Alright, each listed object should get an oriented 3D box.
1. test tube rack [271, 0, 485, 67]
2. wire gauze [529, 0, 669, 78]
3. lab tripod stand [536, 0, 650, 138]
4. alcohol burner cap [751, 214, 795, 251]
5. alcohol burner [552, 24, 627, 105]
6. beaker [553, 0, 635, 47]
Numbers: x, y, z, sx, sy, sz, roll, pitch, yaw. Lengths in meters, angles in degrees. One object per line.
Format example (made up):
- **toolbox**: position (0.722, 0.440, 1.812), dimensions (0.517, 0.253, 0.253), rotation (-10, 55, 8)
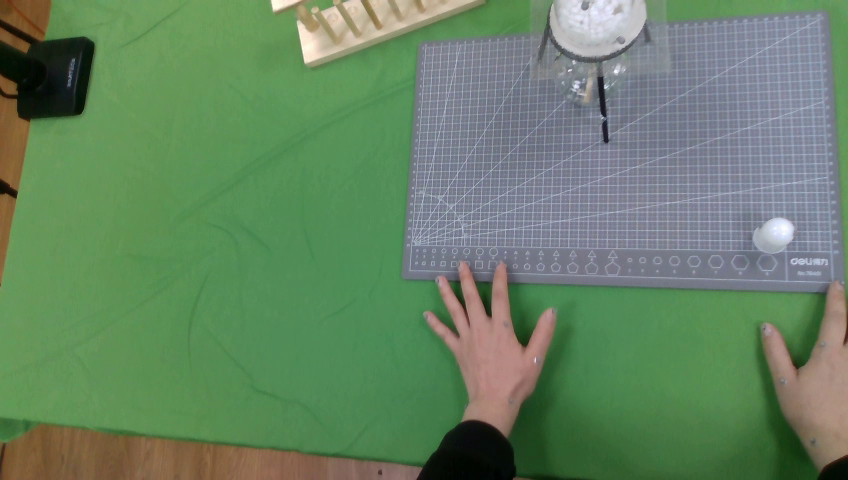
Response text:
- **test tube rack**: position (-0.056, -0.298, 0.738), dimensions (0.242, 0.086, 0.066), rotation (-16, 75, 12)
- **wire gauze**: position (0.160, -0.208, 0.560), dimensions (0.125, 0.011, 0.121), rotation (1, 83, 14)
- **lab tripod stand**: position (0.178, -0.194, 0.622), dimensions (0.148, 0.132, 0.148), rotation (-3, 79, 14)
- **alcohol burner cap**: position (0.341, -0.010, 0.587), dimensions (0.034, 0.048, 0.033), rotation (-3, 78, 16)
- **alcohol burner**: position (0.173, -0.190, 0.632), dimensions (0.078, 0.120, 0.077), rotation (-3, 78, 14)
- **beaker**: position (0.142, -0.218, 0.516), dimensions (0.083, 0.101, 0.074), rotation (15, 84, 19)
